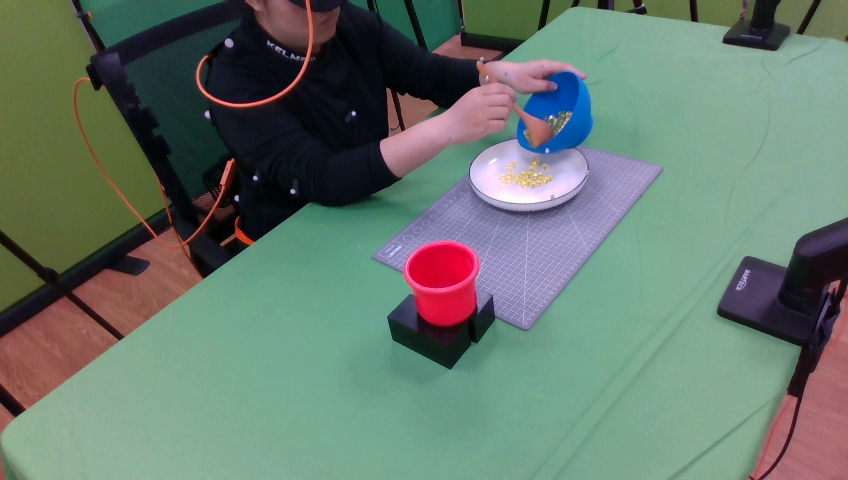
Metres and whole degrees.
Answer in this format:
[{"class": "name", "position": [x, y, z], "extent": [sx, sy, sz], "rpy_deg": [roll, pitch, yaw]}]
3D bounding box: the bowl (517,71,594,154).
[{"class": "bowl", "position": [0.242, -0.209, 1.059], "extent": [0.077, 0.151, 0.150], "rpy_deg": [25, 30, -28]}]

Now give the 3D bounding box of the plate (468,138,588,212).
[{"class": "plate", "position": [0.181, -0.112, 1.064], "extent": [0.207, 0.039, 0.206], "rpy_deg": [-5, 40, 5]}]

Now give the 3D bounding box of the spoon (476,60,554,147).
[{"class": "spoon", "position": [0.150, -0.222, 0.997], "extent": [0.041, 0.195, 0.021], "rpy_deg": [-50, 19, -3]}]
